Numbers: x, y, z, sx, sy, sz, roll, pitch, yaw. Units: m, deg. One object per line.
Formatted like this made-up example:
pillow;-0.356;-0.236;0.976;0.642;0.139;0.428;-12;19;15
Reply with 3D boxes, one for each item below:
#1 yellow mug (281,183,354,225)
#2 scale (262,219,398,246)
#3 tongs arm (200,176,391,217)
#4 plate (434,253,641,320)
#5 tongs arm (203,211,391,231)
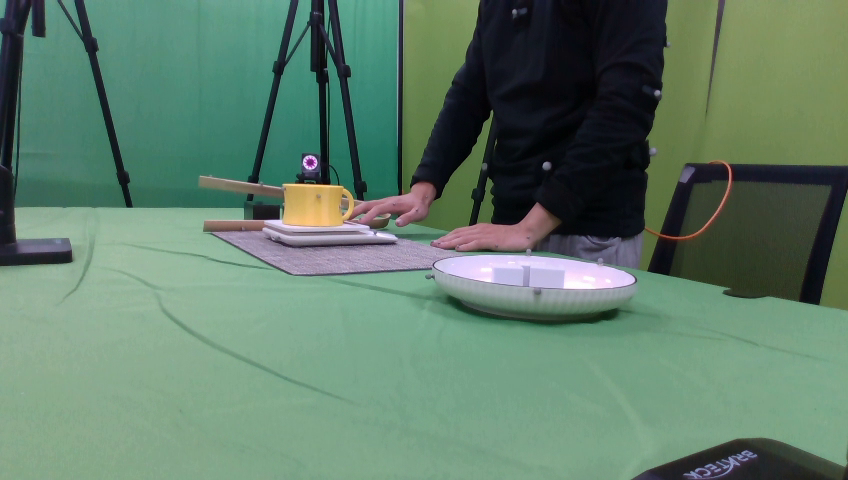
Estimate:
yellow mug;-0.172;-0.061;1.009;0.131;0.064;0.099;-2;8;-41
scale;-0.160;-0.015;1.028;0.202;0.031;0.148;-1;8;-32
tongs arm;-0.258;-0.084;1.245;0.387;0.026;0.050;6;32;-22
plate;0.114;0.047;0.625;0.208;0.039;0.207;2;7;0
tongs arm;-0.231;-0.036;1.185;0.390;0.028;0.028;-3;33;-33
